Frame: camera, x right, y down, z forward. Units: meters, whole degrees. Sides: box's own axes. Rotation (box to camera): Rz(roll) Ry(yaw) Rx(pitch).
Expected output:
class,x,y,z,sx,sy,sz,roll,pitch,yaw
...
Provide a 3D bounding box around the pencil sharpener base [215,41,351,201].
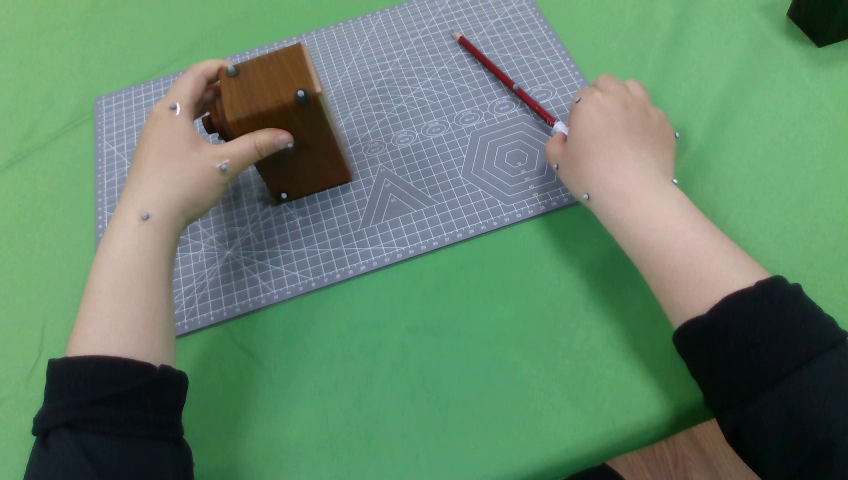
class,x,y,z,sx,sy,sz,roll,pitch,yaw
pencil sharpener base,-0.111,-0.090,0.485,0.077,0.108,0.060,-20,58,-3

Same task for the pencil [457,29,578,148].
class,x,y,z,sx,sy,sz,roll,pitch,yaw
pencil,0.078,-0.144,0.548,0.012,0.012,0.192,-28,56,-9

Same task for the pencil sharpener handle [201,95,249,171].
class,x,y,z,sx,sy,sz,roll,pitch,yaw
pencil sharpener handle,-0.161,-0.079,0.472,0.030,0.068,0.035,-20,58,-2
